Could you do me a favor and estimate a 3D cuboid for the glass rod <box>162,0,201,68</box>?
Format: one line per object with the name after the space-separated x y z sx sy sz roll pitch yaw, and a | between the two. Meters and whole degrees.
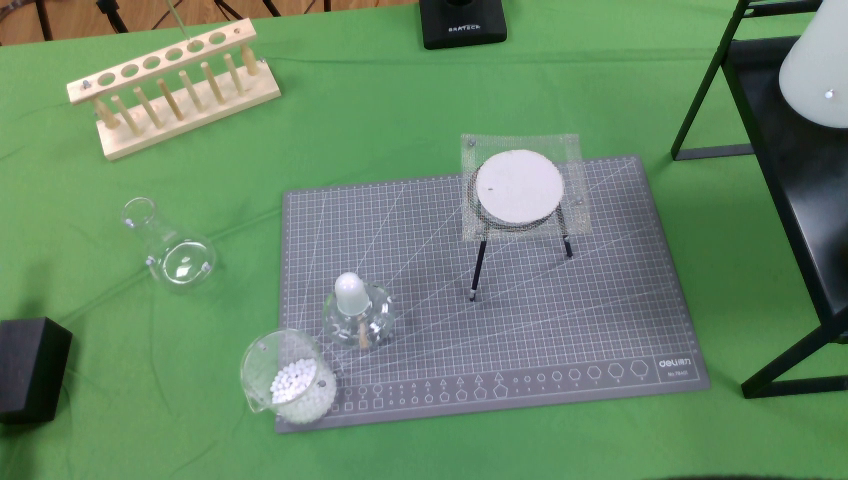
-0.309 -0.272 0.757 0.008 0.202 0.008 -5 56 7 | glass rod

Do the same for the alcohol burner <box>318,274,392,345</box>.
-0.073 0.064 0.624 0.078 0.120 0.077 -1 61 1 | alcohol burner

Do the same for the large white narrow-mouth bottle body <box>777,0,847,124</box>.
0.373 -0.190 0.484 0.102 0.196 0.101 -1 60 3 | large white narrow-mouth bottle body

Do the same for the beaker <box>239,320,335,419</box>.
-0.132 0.135 0.598 0.073 0.101 0.083 22 66 15 | beaker

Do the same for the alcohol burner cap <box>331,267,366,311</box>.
-0.076 0.045 0.592 0.034 0.048 0.033 0 55 1 | alcohol burner cap

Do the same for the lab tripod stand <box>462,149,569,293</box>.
0.091 -0.025 0.649 0.148 0.132 0.147 -1 61 2 | lab tripod stand

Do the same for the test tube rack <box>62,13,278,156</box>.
-0.328 -0.205 0.798 0.242 0.086 0.066 -24 64 -9 | test tube rack

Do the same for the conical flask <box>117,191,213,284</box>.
-0.291 -0.007 0.672 0.075 0.123 0.074 -1 62 3 | conical flask

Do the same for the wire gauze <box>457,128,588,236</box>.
0.094 -0.061 0.591 0.121 0.011 0.124 0 63 2 | wire gauze
